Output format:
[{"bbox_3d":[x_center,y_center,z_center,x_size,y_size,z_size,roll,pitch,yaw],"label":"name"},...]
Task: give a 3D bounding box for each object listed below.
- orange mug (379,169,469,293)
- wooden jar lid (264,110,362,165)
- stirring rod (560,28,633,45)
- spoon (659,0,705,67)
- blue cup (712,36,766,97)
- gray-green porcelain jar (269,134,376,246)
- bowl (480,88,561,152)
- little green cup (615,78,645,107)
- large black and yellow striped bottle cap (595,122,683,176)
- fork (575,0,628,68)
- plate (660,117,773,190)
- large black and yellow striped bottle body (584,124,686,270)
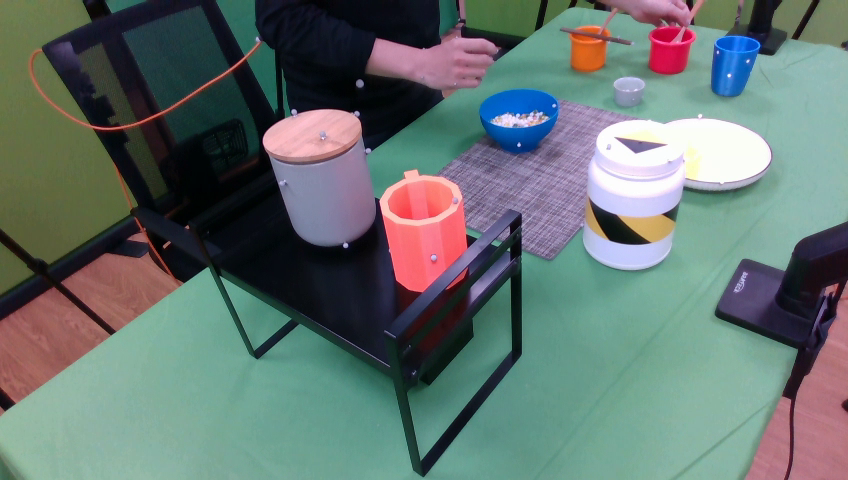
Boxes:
[{"bbox_3d":[-0.002,-0.019,0.665,0.083,0.101,0.125,-12,45,-4],"label":"orange mug"},{"bbox_3d":[-0.122,-0.112,0.673,0.108,0.021,0.108,-4,37,4],"label":"wooden jar lid"},{"bbox_3d":[0.381,-0.452,1.344,0.174,0.006,0.014,26,49,33],"label":"stirring rod"},{"bbox_3d":[0.579,-0.470,1.329,0.041,0.193,0.022,34,16,26],"label":"spoon"},{"bbox_3d":[0.627,-0.350,1.227,0.092,0.100,0.092,-4,39,4],"label":"blue cup"},{"bbox_3d":[-0.115,-0.064,0.715,0.106,0.127,0.105,-4,40,4],"label":"gray-green porcelain jar"},{"bbox_3d":[0.185,-0.222,1.160,0.151,0.077,0.150,-4,40,4],"label":"bowl"},{"bbox_3d":[0.426,-0.306,1.257,0.061,0.039,0.061,-4,40,4],"label":"little green cup"},{"bbox_3d":[0.293,-0.126,0.826,0.115,0.019,0.114,-3,40,3],"label":"large black and yellow striped bottle cap"},{"bbox_3d":[0.413,-0.481,1.377,0.207,0.019,0.028,-57,43,12],"label":"fork"},{"bbox_3d":[0.495,-0.148,1.063,0.209,0.038,0.208,-5,40,4],"label":"plate"},{"bbox_3d":[0.304,-0.063,0.880,0.131,0.185,0.130,-5,41,5],"label":"large black and yellow striped bottle body"}]
